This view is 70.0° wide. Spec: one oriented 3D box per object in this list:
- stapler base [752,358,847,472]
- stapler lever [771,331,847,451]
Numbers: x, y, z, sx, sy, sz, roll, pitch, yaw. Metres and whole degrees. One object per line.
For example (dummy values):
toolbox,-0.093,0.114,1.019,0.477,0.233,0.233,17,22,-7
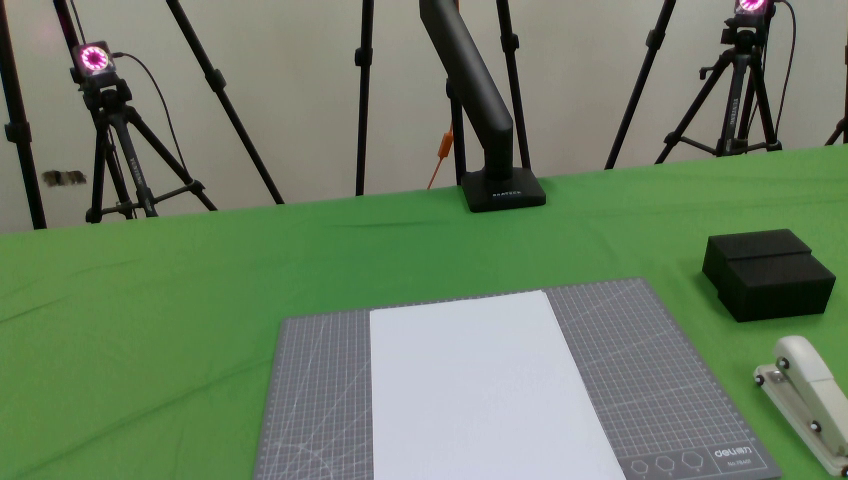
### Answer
stapler base,0.352,0.149,0.553,0.041,0.024,0.129,-8,34,-2
stapler lever,0.351,0.129,0.538,0.027,0.040,0.117,-8,34,-2
